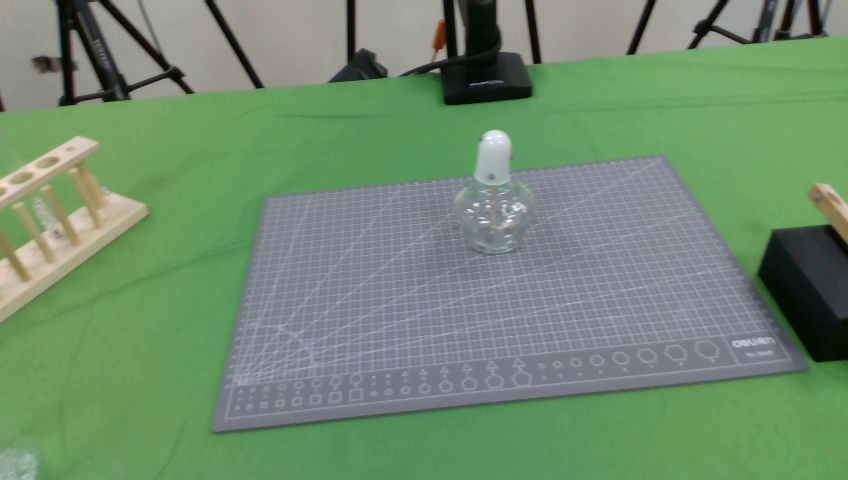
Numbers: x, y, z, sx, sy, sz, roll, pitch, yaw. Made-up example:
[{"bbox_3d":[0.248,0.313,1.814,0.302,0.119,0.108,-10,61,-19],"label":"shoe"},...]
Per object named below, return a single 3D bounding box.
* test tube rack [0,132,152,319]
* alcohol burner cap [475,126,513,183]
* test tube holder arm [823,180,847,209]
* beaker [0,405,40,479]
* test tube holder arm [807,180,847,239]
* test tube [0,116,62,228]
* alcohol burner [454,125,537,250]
[{"bbox_3d":[-0.391,-0.003,0.578,0.066,0.086,0.241,18,46,25],"label":"test tube rack"},{"bbox_3d":[0.063,-0.077,0.532,0.034,0.048,0.033,1,41,-1],"label":"alcohol burner cap"},{"bbox_3d":[0.346,0.011,0.458,0.013,0.015,0.176,1,41,-4],"label":"test tube holder arm"},{"bbox_3d":[-0.314,0.137,0.398,0.084,0.101,0.073,-22,43,-17],"label":"beaker"},{"bbox_3d":[0.338,-0.019,0.491,0.010,0.015,0.087,1,41,-4],"label":"test tube holder arm"},{"bbox_3d":[-0.389,-0.073,0.582,0.017,0.151,0.017,-4,39,4],"label":"test tube"},{"bbox_3d":[0.065,-0.051,0.556,0.078,0.120,0.077,-4,39,3],"label":"alcohol burner"}]
